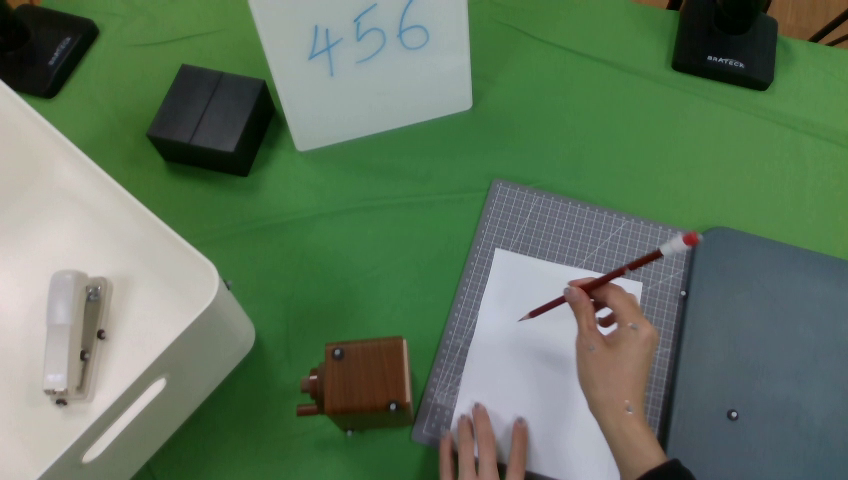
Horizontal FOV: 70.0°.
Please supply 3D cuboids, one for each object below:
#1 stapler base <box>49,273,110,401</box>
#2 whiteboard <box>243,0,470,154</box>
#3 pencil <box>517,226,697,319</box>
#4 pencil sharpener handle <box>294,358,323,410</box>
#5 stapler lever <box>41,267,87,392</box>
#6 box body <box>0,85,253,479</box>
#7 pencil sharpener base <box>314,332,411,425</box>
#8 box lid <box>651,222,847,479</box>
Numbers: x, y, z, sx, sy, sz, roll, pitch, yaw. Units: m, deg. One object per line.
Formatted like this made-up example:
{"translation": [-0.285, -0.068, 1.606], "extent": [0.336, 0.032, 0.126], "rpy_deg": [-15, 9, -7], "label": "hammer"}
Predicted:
{"translation": [-0.343, 0.091, 0.598], "extent": [0.041, 0.024, 0.129], "rpy_deg": [-3, 68, 0], "label": "stapler base"}
{"translation": [-0.081, -0.280, 0.650], "extent": [0.217, 0.308, 0.142], "rpy_deg": [-15, 47, -6], "label": "whiteboard"}
{"translation": [0.144, 0.034, 0.515], "extent": [0.012, 0.194, 0.012], "rpy_deg": [19, 54, -29], "label": "pencil"}
{"translation": [-0.103, 0.130, 0.529], "extent": [0.030, 0.068, 0.035], "rpy_deg": [-5, 49, -1], "label": "pencil sharpener handle"}
{"translation": [-0.343, 0.082, 0.574], "extent": [0.027, 0.040, 0.117], "rpy_deg": [-3, 69, 1], "label": "stapler lever"}
{"translation": [-0.368, 0.049, 0.547], "extent": [0.362, 0.161, 0.253], "rpy_deg": [36, 71, 14], "label": "box body"}
{"translation": [-0.052, 0.127, 0.544], "extent": [0.077, 0.108, 0.061], "rpy_deg": [-5, 66, -1], "label": "pencil sharpener base"}
{"translation": [0.365, 0.168, 0.581], "extent": [0.263, 0.015, 0.369], "rpy_deg": [16, 67, 6], "label": "box lid"}
